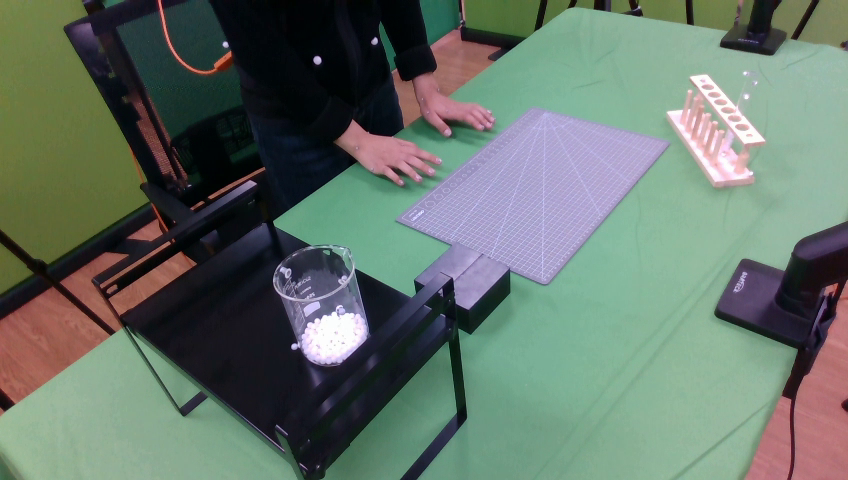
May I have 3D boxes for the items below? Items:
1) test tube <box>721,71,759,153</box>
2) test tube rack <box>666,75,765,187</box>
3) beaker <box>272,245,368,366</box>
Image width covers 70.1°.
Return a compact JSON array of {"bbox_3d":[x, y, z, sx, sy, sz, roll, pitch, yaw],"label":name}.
[{"bbox_3d":[0.529,-0.212,1.015,0.017,0.151,0.017,0,40,0],"label":"test tube"},{"bbox_3d":[0.512,-0.201,1.082,0.067,0.085,0.241,-6,41,2],"label":"test tube rack"},{"bbox_3d":[-0.093,0.064,0.578,0.073,0.101,0.084,21,48,29],"label":"beaker"}]
